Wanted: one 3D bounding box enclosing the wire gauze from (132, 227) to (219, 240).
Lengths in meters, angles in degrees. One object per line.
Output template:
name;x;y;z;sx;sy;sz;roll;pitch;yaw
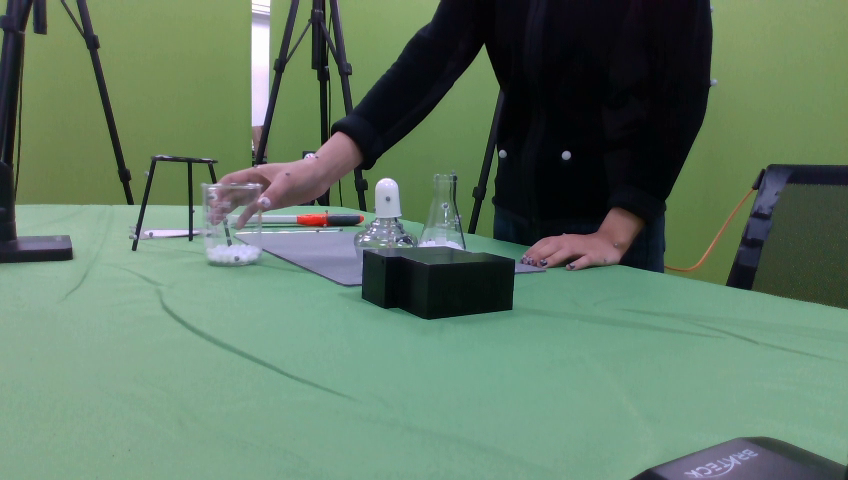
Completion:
wire gauze;-0.421;-0.014;1.024;0.122;0.011;0.124;-2;7;-34

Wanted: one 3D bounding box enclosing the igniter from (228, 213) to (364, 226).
igniter;-0.252;-0.042;1.226;0.278;0.025;0.057;-3;-2;-32

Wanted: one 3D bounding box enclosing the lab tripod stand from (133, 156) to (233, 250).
lab tripod stand;-0.342;-0.054;0.878;0.148;0.131;0.148;4;6;0

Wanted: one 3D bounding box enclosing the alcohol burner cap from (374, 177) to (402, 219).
alcohol burner cap;-0.044;-0.049;0.704;0.034;0.048;0.034;-5;10;1

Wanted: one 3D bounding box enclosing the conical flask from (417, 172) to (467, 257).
conical flask;0.029;-0.039;0.897;0.075;0.122;0.075;2;8;0

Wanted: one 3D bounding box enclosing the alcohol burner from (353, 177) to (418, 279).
alcohol burner;-0.044;-0.014;0.710;0.078;0.119;0.078;4;9;0

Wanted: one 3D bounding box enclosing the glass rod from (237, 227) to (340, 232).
glass rod;-0.247;-0.020;1.124;0.201;0.008;0.008;-2;8;-34

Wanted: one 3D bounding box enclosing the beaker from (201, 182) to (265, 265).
beaker;-0.245;-0.022;0.768;0.083;0.100;0.074;6;9;27
